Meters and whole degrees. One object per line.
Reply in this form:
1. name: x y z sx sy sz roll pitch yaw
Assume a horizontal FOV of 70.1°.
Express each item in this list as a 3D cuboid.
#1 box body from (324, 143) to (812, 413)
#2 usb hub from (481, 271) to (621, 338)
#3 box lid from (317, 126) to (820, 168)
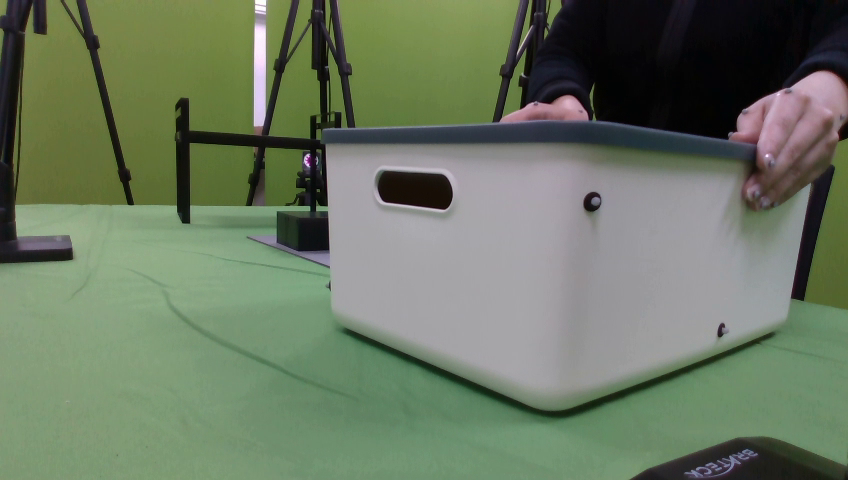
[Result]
1. box body: 0.125 0.000 0.511 0.366 0.160 0.253 -4 10 -41
2. usb hub: 0.112 0.053 0.526 0.126 0.025 0.049 -10 15 -34
3. box lid: 0.129 -0.072 0.502 0.374 0.015 0.262 -4 10 -40
